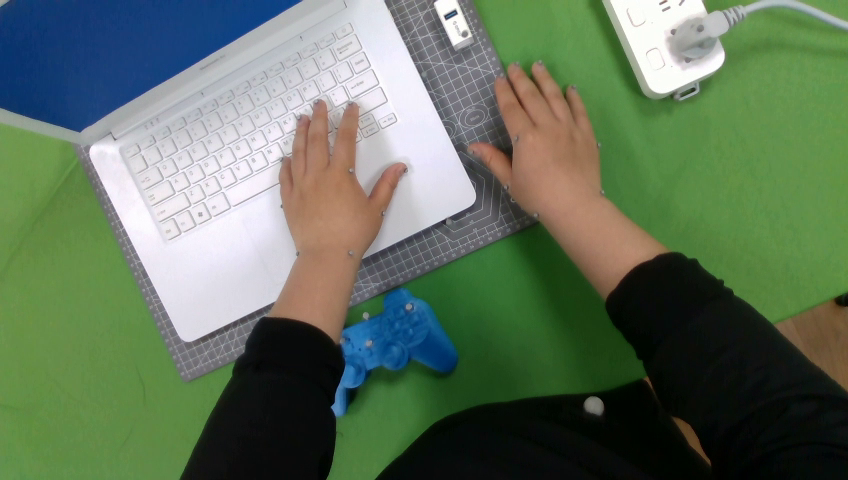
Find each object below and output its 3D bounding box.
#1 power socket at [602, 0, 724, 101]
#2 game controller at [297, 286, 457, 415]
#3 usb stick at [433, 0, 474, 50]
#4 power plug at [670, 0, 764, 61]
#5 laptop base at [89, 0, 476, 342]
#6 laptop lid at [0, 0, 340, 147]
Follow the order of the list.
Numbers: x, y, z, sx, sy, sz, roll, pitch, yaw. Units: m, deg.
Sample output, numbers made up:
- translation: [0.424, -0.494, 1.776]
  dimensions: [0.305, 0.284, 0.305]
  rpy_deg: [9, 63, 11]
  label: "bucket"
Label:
- translation: [0.195, -0.234, 0.543]
  dimensions: [0.072, 0.032, 0.226]
  rpy_deg: [-24, 91, 11]
  label: "power socket"
- translation: [-0.053, 0.111, 0.607]
  dimensions: [0.155, 0.051, 0.097]
  rpy_deg: [-24, 86, 10]
  label: "game controller"
- translation: [0.025, -0.212, 0.572]
  dimensions: [0.021, 0.027, 0.059]
  rpy_deg: [-24, 89, 11]
  label: "usb stick"
- translation: [0.249, -0.177, 0.519]
  dimensions: [0.072, 0.052, 0.035]
  rpy_deg: [-13, 92, 6]
  label: "power plug"
- translation: [-0.151, -0.069, 0.620]
  dimensions: [0.354, 0.023, 0.235]
  rpy_deg: [-26, 93, 10]
  label: "laptop base"
- translation: [-0.230, -0.182, 0.503]
  dimensions: [0.356, 0.242, 0.013]
  rpy_deg: [-26, 81, 12]
  label: "laptop lid"
